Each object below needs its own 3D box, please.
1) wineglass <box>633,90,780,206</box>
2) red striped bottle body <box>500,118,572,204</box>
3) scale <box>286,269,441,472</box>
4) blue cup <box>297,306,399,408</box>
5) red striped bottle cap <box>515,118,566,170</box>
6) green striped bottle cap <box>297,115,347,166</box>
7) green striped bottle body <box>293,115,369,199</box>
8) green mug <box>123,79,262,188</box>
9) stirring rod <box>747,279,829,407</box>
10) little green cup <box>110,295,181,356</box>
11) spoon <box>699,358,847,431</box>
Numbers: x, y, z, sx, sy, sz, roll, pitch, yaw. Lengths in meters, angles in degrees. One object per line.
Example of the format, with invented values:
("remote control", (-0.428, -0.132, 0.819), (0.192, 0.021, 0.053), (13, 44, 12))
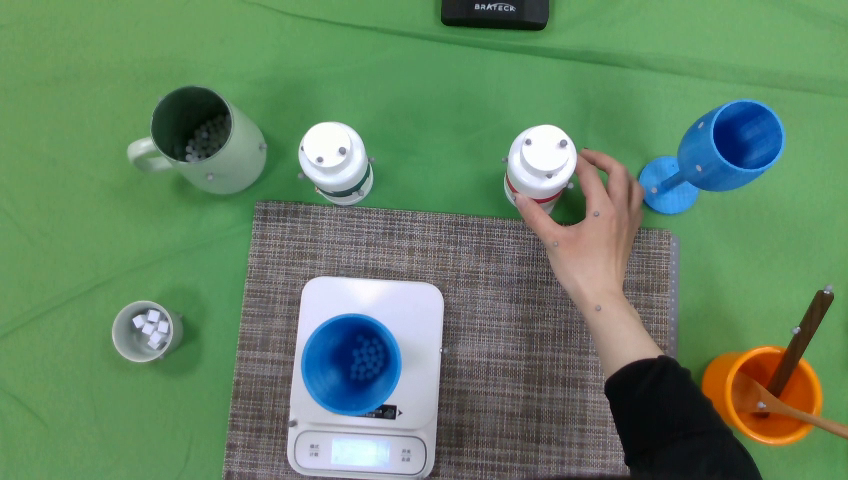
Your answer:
("wineglass", (0.259, -0.080, 0.578), (0.074, 0.172, 0.073), (0, 82, 1))
("red striped bottle body", (0.108, -0.078, 0.592), (0.063, 0.120, 0.063), (-1, 81, 4))
("scale", (-0.061, 0.132, 0.617), (0.149, 0.031, 0.200), (3, 83, 1))
("blue cup", (-0.064, 0.102, 0.555), (0.093, 0.100, 0.092), (0, 85, -2))
("red striped bottle cap", (0.104, -0.086, 0.539), (0.044, 0.018, 0.044), (-1, 79, 5))
("green striped bottle cap", (-0.093, -0.091, 0.551), (0.044, 0.020, 0.044), (0, 82, -1))
("green striped bottle body", (-0.092, -0.083, 0.603), (0.063, 0.119, 0.063), (0, 82, 0))
("green mug", (-0.236, -0.100, 0.612), (0.125, 0.105, 0.092), (-18, 83, -2))
("stirring rod", (0.338, 0.102, 0.568), (0.014, 0.178, 0.006), (12, 42, 15))
("little green cup", (-0.282, 0.088, 0.621), (0.061, 0.039, 0.061), (0, 83, -1))
("spoon", (0.353, 0.156, 0.562), (0.022, 0.192, 0.041), (18, 90, -41))
